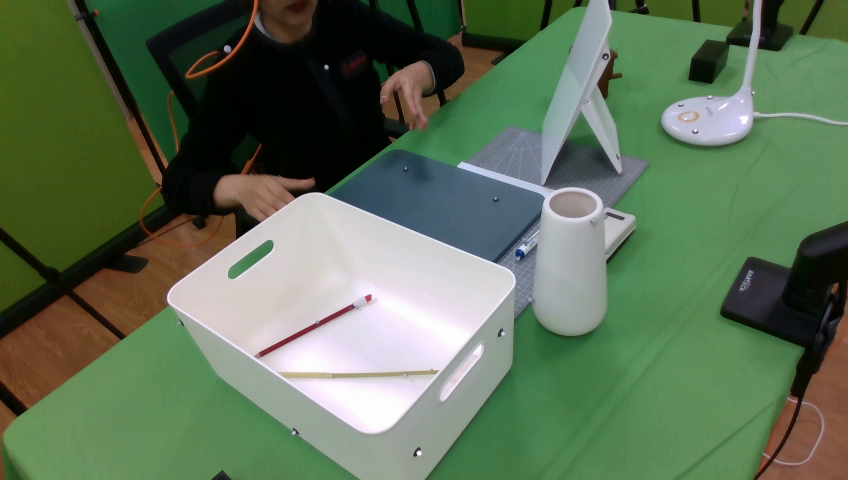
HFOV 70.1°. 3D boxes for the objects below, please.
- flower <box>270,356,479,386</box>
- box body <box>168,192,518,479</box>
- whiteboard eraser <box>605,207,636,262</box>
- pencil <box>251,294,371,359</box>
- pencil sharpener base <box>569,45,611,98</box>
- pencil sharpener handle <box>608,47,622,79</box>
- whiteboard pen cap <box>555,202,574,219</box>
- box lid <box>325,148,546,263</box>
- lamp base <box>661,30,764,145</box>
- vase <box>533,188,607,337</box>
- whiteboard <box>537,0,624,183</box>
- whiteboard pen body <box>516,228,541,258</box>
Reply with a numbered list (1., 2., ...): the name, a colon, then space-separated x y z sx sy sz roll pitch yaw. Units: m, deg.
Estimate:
1. flower: -0.086 0.173 0.785 0.361 0.038 0.044 -2 46 12
2. box body: -0.093 0.113 0.757 0.361 0.161 0.255 22 49 32
3. whiteboard eraser: 0.272 -0.003 0.919 0.055 0.042 0.113 27 51 32
4. pencil: -0.162 0.125 0.865 0.195 0.012 0.012 -27 43 -18
5. pencil sharpener base: 0.346 -0.352 1.262 0.077 0.107 0.061 -10 40 -1
6. pencil sharpener handle: 0.395 -0.369 1.254 0.031 0.068 0.036 -10 32 -1
7. whiteboard pen cap: 0.230 -0.048 0.994 0.018 0.018 0.033 26 54 34
8. box lid: -0.002 -0.055 1.052 0.368 0.015 0.264 23 49 32
9. lamp base: 0.535 -0.287 1.096 0.179 0.181 0.159 -10 40 -4
10. vase: 0.187 0.033 0.771 0.098 0.201 0.097 -6 41 6
11. whiteboard: 0.316 -0.256 1.047 0.144 0.306 0.216 15 42 -1
12. whiteboard pen body: 0.192 -0.015 0.964 0.017 0.017 0.141 26 51 34
